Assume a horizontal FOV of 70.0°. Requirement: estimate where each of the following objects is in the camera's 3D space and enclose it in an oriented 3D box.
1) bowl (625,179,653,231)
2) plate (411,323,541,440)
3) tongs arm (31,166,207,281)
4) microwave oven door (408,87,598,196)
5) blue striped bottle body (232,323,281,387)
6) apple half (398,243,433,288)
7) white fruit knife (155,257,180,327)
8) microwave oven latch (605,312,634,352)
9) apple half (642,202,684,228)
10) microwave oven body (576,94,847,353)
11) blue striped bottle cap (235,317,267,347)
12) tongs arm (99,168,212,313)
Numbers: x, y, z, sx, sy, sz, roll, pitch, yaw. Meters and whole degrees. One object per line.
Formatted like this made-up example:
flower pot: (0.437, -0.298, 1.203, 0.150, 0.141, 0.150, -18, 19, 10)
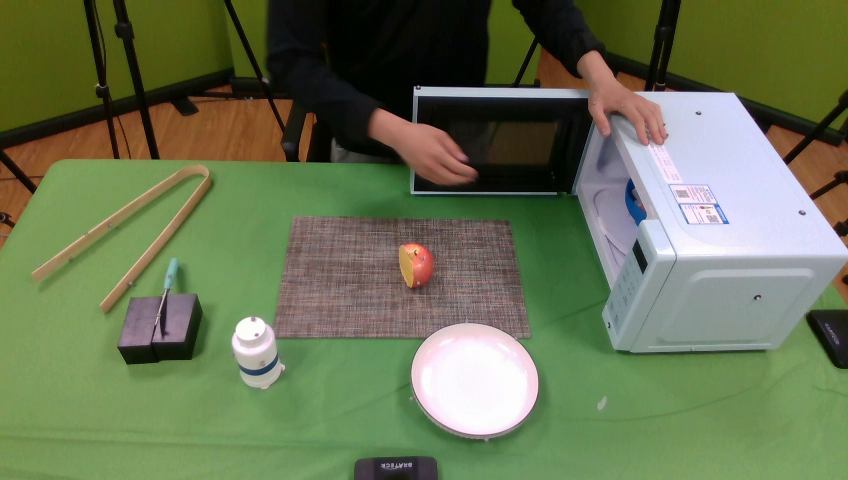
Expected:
bowl: (0.453, -0.048, 1.170, 0.151, 0.077, 0.150, 7, 36, -5)
plate: (0.082, 0.228, 0.976, 0.208, 0.039, 0.206, 2, 45, -2)
tongs arm: (-0.578, -0.040, 1.184, 0.050, 0.026, 0.384, 23, 48, 17)
microwave oven door: (0.149, -0.194, 1.226, 0.356, 0.245, 0.039, 0, 45, -5)
blue striped bottle body: (-0.262, 0.172, 0.944, 0.063, 0.121, 0.062, 2, 46, -2)
apple half: (-0.012, 0.046, 1.115, 0.053, 0.075, 0.080, -11, 44, -19)
white fruit knife: (-0.440, 0.085, 1.037, 0.016, 0.027, 0.206, 10, 26, -19)
microwave oven latch: (0.334, 0.154, 1.043, 0.030, 0.029, 0.078, 3, 45, 0)
apple half: (0.459, -0.055, 1.160, 0.081, 0.033, 0.081, 0, 31, 0)
microwave oven body: (0.475, -0.041, 1.109, 0.326, 0.261, 0.438, -1, 45, -4)
blue striped bottle cap: (-0.259, 0.137, 0.907, 0.044, 0.021, 0.044, 3, 43, -2)
tongs arm: (-0.503, -0.012, 1.167, 0.028, 0.028, 0.385, 11, 46, 11)
